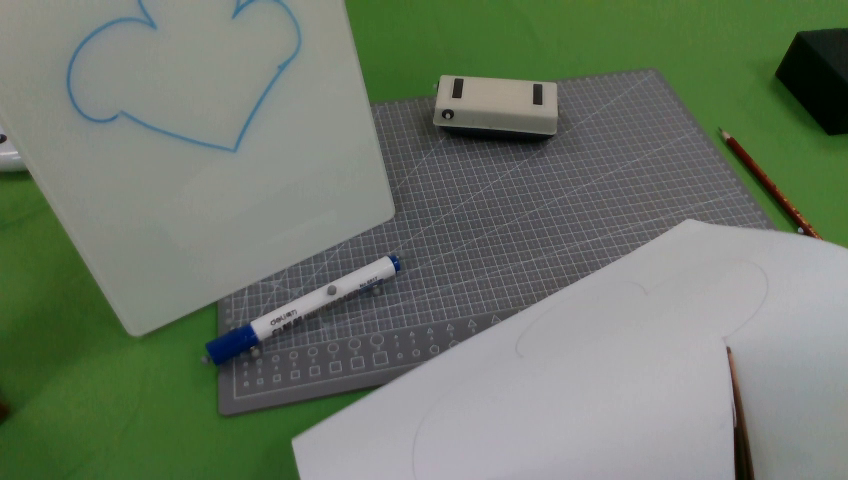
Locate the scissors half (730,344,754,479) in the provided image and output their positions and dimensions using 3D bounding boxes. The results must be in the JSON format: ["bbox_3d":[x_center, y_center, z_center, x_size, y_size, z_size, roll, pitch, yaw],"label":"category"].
[{"bbox_3d":[0.154,0.135,0.274,0.013,0.040,0.174,3,75,-16],"label":"scissors half"}]

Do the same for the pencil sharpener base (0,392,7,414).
[{"bbox_3d":[-0.310,0.085,0.342,0.061,0.108,0.076,30,57,20],"label":"pencil sharpener base"}]

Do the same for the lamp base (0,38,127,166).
[{"bbox_3d":[-0.370,-0.179,0.504,0.178,0.182,0.160,23,54,19],"label":"lamp base"}]

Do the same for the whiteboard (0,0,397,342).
[{"bbox_3d":[-0.172,-0.125,0.426,0.217,0.308,0.142,-26,37,-20],"label":"whiteboard"}]

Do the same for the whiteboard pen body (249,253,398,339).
[{"bbox_3d":[-0.081,0.044,0.432,0.141,0.017,0.017,-26,56,-20],"label":"whiteboard pen body"}]

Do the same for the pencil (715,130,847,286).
[{"bbox_3d":[0.307,-0.035,0.524,0.012,0.012,0.192,-12,51,-11],"label":"pencil"}]

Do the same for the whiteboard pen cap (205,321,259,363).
[{"bbox_3d":[-0.130,0.069,0.412,0.033,0.018,0.018,-27,57,-20],"label":"whiteboard pen cap"}]

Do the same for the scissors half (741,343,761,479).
[{"bbox_3d":[0.150,0.137,0.293,0.013,0.040,0.175,3,92,-11],"label":"scissors half"}]

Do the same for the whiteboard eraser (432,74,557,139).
[{"bbox_3d":[0.065,-0.123,0.561,0.112,0.042,0.055,6,52,3],"label":"whiteboard eraser"}]
